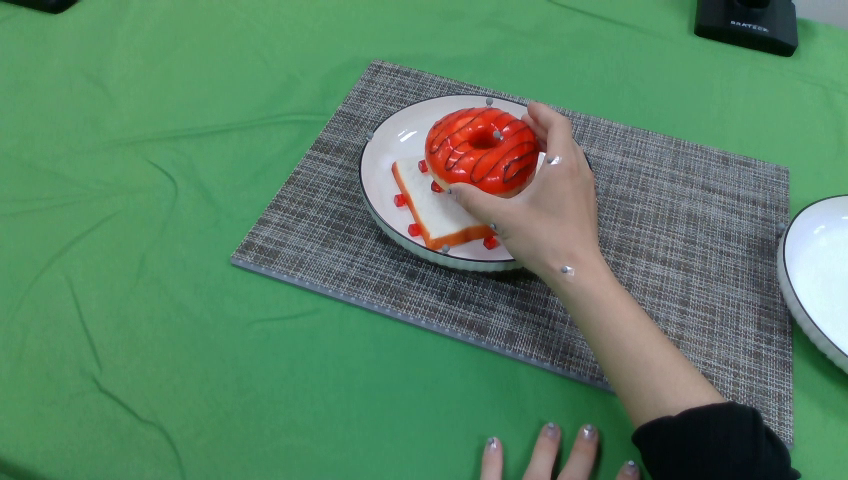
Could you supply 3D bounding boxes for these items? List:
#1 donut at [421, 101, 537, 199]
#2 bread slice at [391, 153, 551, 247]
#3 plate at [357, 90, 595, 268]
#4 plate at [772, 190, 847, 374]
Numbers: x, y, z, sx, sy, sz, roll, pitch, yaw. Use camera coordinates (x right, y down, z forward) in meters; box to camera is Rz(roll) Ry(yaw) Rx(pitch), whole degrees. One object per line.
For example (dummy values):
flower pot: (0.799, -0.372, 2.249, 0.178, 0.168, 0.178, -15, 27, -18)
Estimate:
donut: (0.046, -0.078, 0.514, 0.099, 0.048, 0.098, 2, 54, -3)
bread slice: (0.046, -0.051, 0.544, 0.132, 0.019, 0.104, -16, 55, -14)
plate: (0.045, -0.056, 0.545, 0.209, 0.038, 0.207, 2, 52, -2)
plate: (0.387, 0.047, 0.494, 0.208, 0.039, 0.205, 2, 52, -2)
